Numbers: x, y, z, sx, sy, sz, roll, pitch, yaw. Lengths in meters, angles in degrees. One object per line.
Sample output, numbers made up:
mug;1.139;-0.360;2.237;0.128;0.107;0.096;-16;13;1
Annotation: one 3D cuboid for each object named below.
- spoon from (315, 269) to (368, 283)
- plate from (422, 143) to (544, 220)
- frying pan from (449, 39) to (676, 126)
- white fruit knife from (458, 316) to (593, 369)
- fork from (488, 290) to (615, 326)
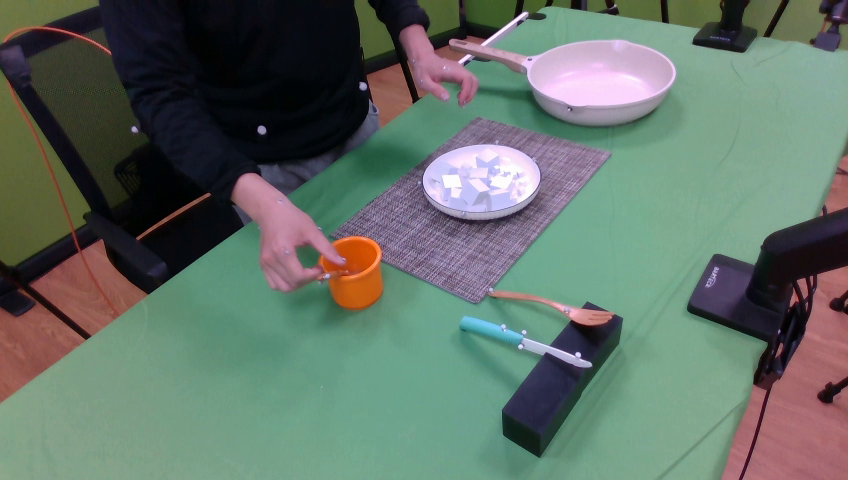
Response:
spoon;-0.116;0.049;0.831;0.041;0.194;0.021;-4;85;9
plate;0.102;-0.097;1.048;0.207;0.039;0.206;-4;40;4
frying pan;0.272;-0.362;1.287;0.485;0.103;0.307;23;48;19
white fruit knife;0.120;0.127;0.757;0.205;0.027;0.016;12;44;43
fork;0.160;0.086;0.801;0.205;0.019;0.028;12;47;48
